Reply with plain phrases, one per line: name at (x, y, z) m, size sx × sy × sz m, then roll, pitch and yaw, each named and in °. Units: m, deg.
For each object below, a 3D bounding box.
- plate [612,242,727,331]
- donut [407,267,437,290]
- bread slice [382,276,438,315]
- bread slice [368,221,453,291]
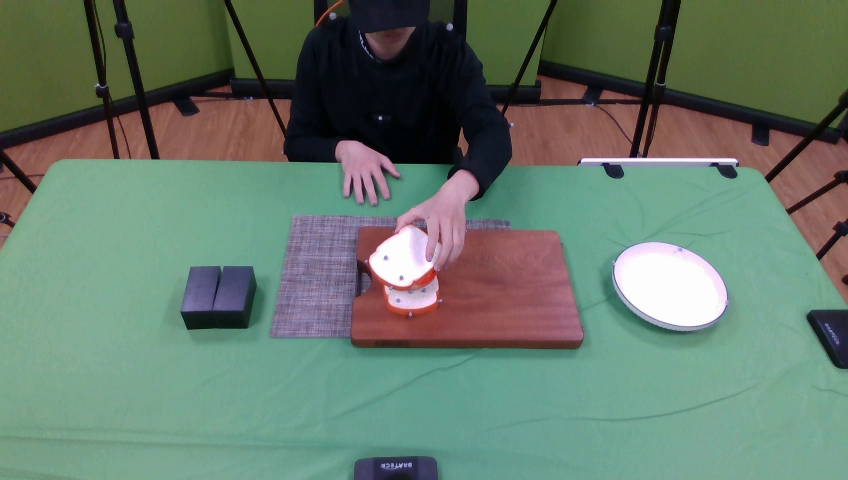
plate at (0.455, 0.090, 1.138) m, size 0.209 × 0.038 × 0.208 m, roll 3°, pitch 45°, yaw -2°
donut at (-0.025, 0.047, 1.076) m, size 0.099 × 0.048 × 0.098 m, roll 4°, pitch 44°, yaw -4°
bread slice at (-0.024, 0.079, 1.088) m, size 0.105 × 0.019 × 0.130 m, roll -2°, pitch 44°, yaw -5°
bread slice at (-0.028, 0.032, 1.042) m, size 0.106 × 0.018 × 0.134 m, roll 30°, pitch 53°, yaw 22°
